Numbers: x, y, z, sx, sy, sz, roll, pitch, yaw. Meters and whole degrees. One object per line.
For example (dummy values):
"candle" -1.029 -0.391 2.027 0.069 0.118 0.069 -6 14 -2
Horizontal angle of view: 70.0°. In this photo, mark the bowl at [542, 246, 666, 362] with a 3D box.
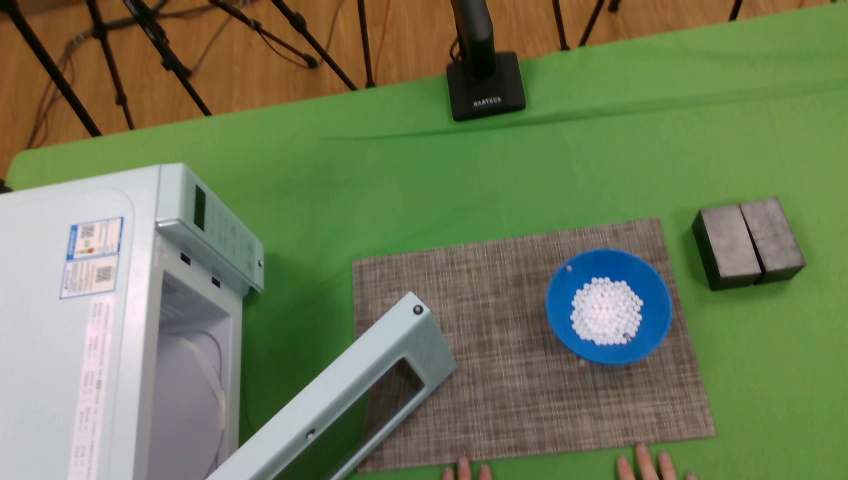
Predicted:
"bowl" 0.227 0.091 0.782 0.151 0.077 0.150 -4 66 8

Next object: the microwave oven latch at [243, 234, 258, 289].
"microwave oven latch" -0.263 0.031 0.899 0.030 0.030 0.078 -9 66 5

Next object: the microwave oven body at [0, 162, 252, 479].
"microwave oven body" -0.405 0.174 0.751 0.326 0.262 0.438 -9 66 5

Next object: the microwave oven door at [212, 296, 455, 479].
"microwave oven door" -0.117 0.225 0.675 0.355 0.246 0.039 -43 65 -10
